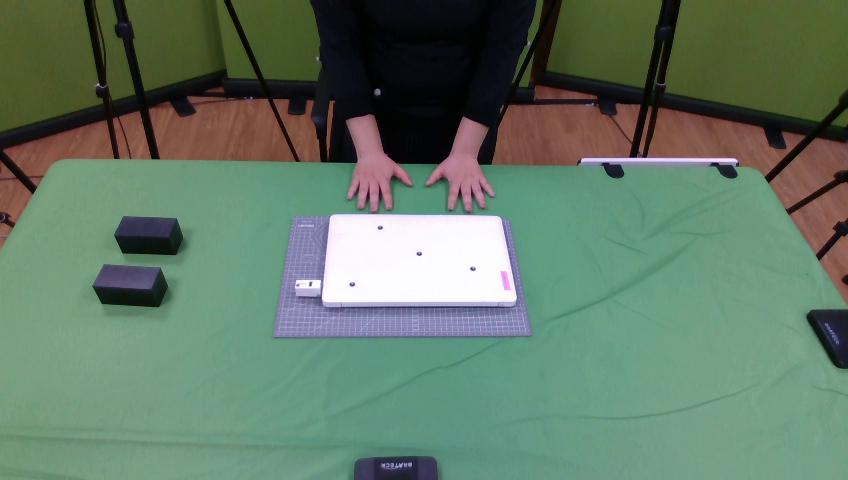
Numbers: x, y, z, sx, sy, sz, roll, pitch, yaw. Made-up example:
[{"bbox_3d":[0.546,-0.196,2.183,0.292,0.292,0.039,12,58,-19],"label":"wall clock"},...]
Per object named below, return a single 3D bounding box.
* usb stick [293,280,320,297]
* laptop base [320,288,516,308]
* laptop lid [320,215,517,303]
[{"bbox_3d":[-0.202,0.087,1.082,0.059,0.027,0.021,4,46,-4],"label":"usb stick"},{"bbox_3d":[-0.013,0.040,1.160,0.355,0.023,0.234,0,42,-4],"label":"laptop base"},{"bbox_3d":[-0.012,0.030,1.153,0.357,0.013,0.240,2,43,-3],"label":"laptop lid"}]
